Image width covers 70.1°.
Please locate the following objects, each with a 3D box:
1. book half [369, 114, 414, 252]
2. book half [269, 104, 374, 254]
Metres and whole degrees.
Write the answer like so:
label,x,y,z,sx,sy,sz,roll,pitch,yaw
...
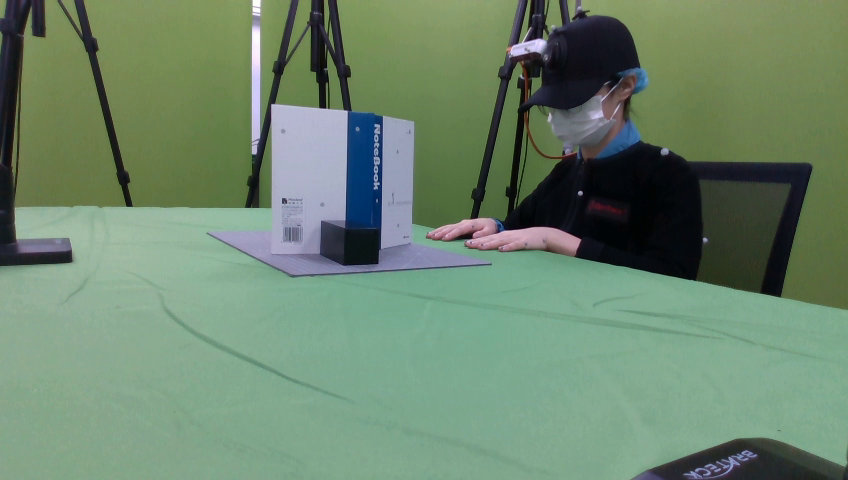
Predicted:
label,x,y,z,sx,sy,sz,roll,pitch,yaw
book half,-0.053,-0.092,0.974,0.007,0.210,0.144,4,7,27
book half,-0.148,-0.084,0.877,0.149,0.210,0.016,0,7,-22
